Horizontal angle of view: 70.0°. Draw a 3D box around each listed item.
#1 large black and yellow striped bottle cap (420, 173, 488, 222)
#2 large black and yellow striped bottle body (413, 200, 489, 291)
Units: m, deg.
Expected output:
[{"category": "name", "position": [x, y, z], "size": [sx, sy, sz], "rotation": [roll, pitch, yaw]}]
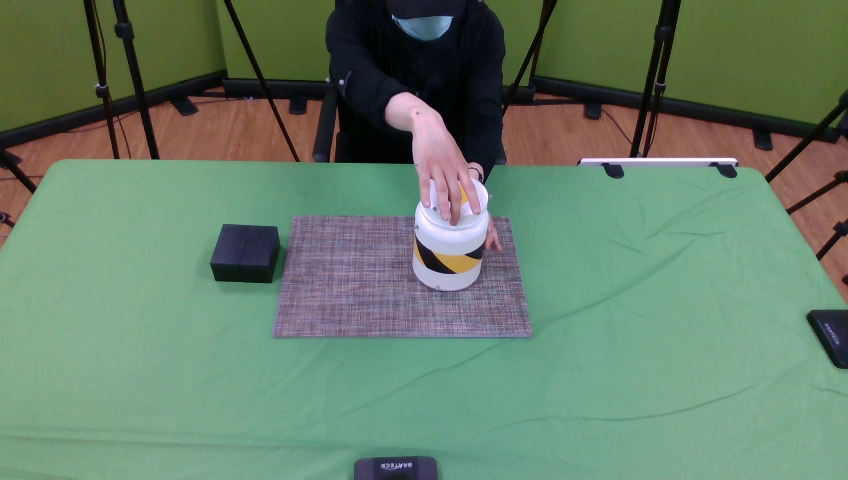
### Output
[{"category": "large black and yellow striped bottle cap", "position": [0.051, -0.074, 1.027], "size": [0.115, 0.019, 0.114], "rotation": [3, 44, -3]}, {"category": "large black and yellow striped bottle body", "position": [0.047, -0.011, 1.091], "size": [0.131, 0.185, 0.130], "rotation": [2, 46, -2]}]
